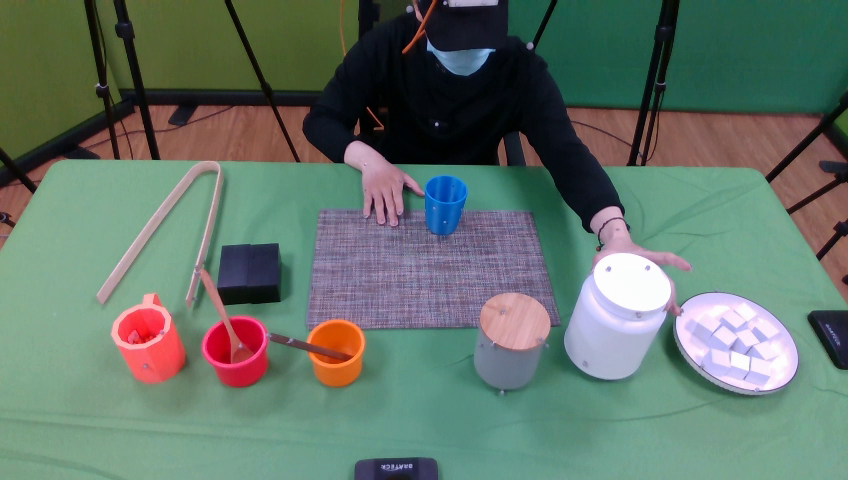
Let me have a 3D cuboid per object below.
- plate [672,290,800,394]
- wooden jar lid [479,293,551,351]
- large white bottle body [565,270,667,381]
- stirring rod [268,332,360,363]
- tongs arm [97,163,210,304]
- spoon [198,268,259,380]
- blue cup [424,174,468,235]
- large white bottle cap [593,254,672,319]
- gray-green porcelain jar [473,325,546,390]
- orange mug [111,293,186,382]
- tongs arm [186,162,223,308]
[{"bbox_3d":[0.533,0.178,1.050,0.208,0.039,0.206,2,46,-2],"label":"plate"},{"bbox_3d":[0.138,0.127,0.925,0.108,0.021,0.107,1,47,-1],"label":"wooden jar lid"},{"bbox_3d":[0.308,0.125,0.970,0.131,0.185,0.130,2,46,-1],"label":"large white bottle body"},{"bbox_3d":[-0.167,0.168,0.942,0.177,0.006,0.014,26,27,-41],"label":"stirring rod"},{"bbox_3d":[-0.520,-0.028,1.183,0.028,0.028,0.385,5,45,12],"label":"tongs arm"},{"bbox_3d":[-0.312,0.132,0.962,0.041,0.021,0.194,-24,96,-22],"label":"spoon"},{"bbox_3d":[0.039,-0.064,1.201,0.093,0.101,0.092,3,46,-3],"label":"blue cup"},{"bbox_3d":[0.312,0.067,0.908,0.115,0.018,0.114,2,46,-2],"label":"large white bottle cap"},{"bbox_3d":[0.135,0.170,0.969,0.106,0.127,0.105,2,46,-2],"label":"gray-green porcelain jar"},{"bbox_3d":[-0.435,0.149,0.968,0.083,0.101,0.125,-5,51,-8],"label":"orange mug"},{"bbox_3d":[-0.436,-0.024,1.181,0.051,0.027,0.382,-2,45,0],"label":"tongs arm"}]
